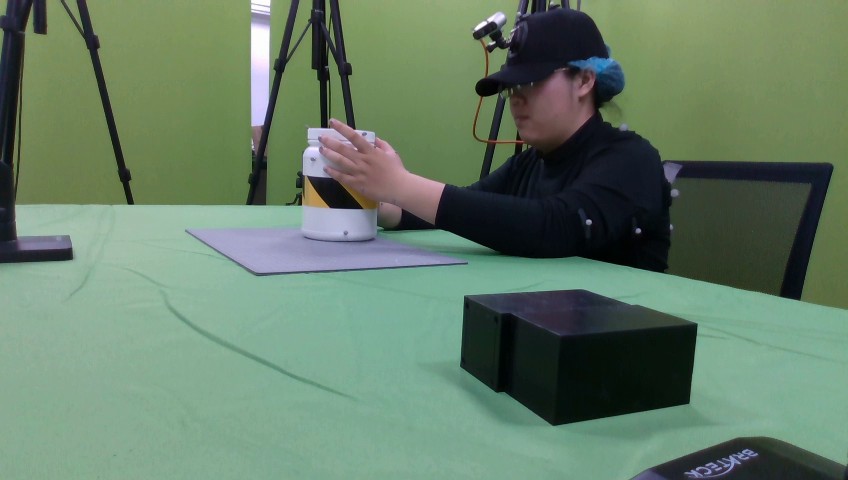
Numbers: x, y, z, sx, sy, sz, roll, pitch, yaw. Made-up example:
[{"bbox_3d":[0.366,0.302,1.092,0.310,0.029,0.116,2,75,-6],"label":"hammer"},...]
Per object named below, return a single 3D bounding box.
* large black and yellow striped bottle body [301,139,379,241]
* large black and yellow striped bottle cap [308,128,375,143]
[{"bbox_3d":[-0.144,-0.095,1.045,0.131,0.184,0.130,3,8,0],"label":"large black and yellow striped bottle body"},{"bbox_3d":[-0.140,-0.178,1.035,0.115,0.019,0.115,3,9,0],"label":"large black and yellow striped bottle cap"}]
